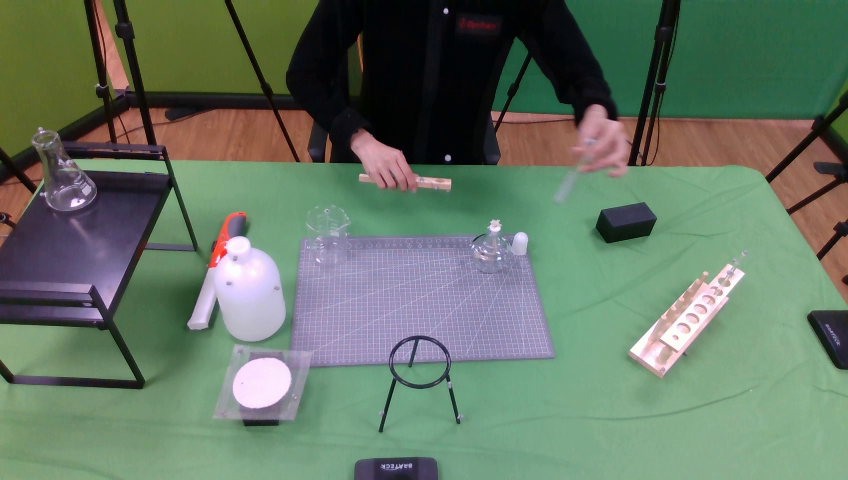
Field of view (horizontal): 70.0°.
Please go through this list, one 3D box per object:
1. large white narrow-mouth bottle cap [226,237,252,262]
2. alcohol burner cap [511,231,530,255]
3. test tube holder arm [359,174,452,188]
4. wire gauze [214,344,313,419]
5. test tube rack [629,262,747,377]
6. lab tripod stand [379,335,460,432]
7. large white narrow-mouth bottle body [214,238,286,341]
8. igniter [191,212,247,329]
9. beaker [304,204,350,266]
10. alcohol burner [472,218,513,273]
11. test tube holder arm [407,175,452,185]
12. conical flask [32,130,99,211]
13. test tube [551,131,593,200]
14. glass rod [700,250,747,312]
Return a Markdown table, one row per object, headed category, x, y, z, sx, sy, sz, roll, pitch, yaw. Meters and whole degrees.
| category | x | y | z | sx | sy | sz | roll | pitch | yaw |
| --- | --- | --- | --- | --- | --- | --- | --- | --- | --- |
| large white narrow-mouth bottle cap | -0.282 | 0.014 | 0.923 | 0.038 | 0.024 | 0.037 | 2 | 46 | -2 |
| alcohol burner cap | 0.191 | 0.003 | 1.188 | 0.034 | 0.048 | 0.033 | 2 | 46 | -2 |
| test tube holder arm | -0.036 | -0.113 | 1.154 | 0.178 | 0.015 | 0.013 | 4 | 38 | 7 |
| wire gauze | -0.241 | 0.213 | 0.915 | 0.121 | 0.011 | 0.124 | 5 | 46 | 1 |
| test tube rack | 0.464 | 0.126 | 1.060 | 0.242 | 0.085 | 0.066 | -34 | 56 | -30 |
| lab tripod stand | -0.010 | 0.214 | 0.911 | 0.148 | 0.132 | 0.147 | 1 | 45 | 0 |
| large white narrow-mouth bottle body | -0.285 | 0.073 | 0.986 | 0.102 | 0.195 | 0.101 | 2 | 46 | -2 |
| igniter | -0.376 | 0.047 | 1.121 | 0.057 | 0.025 | 0.275 | -4 | 46 | 6 |
| beaker | -0.178 | -0.006 | 1.132 | 0.084 | 0.101 | 0.073 | 4 | 46 | -1 |
| alcohol burner | 0.128 | 0.005 | 1.132 | 0.078 | 0.120 | 0.077 | 0 | 47 | 0 |
| test tube holder arm | 0.009 | -0.113 | 1.153 | 0.088 | 0.015 | 0.010 | 4 | 38 | 7 |
| conical flask | -0.565 | -0.111 | 0.944 | 0.075 | 0.122 | 0.075 | 2 | 46 | -2 |
| test tube | 0.232 | -0.114 | 0.958 | 0.017 | 0.151 | 0.017 | 6 | 54 | -8 |
| glass rod | 0.500 | 0.075 | 1.021 | 0.008 | 0.201 | 0.008 | 0 | 54 | 1 |
